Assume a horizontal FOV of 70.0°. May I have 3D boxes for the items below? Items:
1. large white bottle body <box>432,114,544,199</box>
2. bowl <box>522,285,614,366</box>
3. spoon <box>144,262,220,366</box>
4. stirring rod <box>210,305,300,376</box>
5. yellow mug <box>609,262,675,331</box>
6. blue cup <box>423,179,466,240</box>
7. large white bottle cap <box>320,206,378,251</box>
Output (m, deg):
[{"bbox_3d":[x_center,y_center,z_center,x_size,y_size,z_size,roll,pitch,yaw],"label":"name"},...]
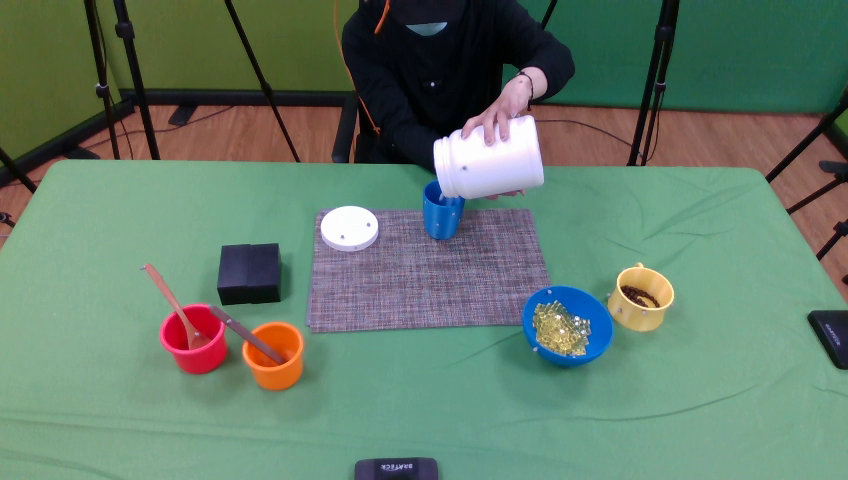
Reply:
[{"bbox_3d":[0.117,-0.147,1.100,0.184,0.131,0.130,-10,44,13],"label":"large white bottle body"},{"bbox_3d":[0.235,0.158,1.022,0.151,0.077,0.150,2,46,-2],"label":"bowl"},{"bbox_3d":[-0.389,0.118,0.970,0.041,0.021,0.194,-34,100,-33],"label":"spoon"},{"bbox_3d":[-0.262,0.158,0.946,0.177,0.006,0.014,43,43,-21],"label":"stirring rod"},{"bbox_3d":[0.393,0.094,1.103,0.100,0.064,0.130,7,45,4],"label":"yellow mug"},{"bbox_3d":[0.036,-0.056,1.192,0.093,0.101,0.092,3,45,-3],"label":"blue cup"},{"bbox_3d":[-0.150,-0.024,1.207,0.115,0.018,0.114,2,46,-2],"label":"large white bottle cap"}]
